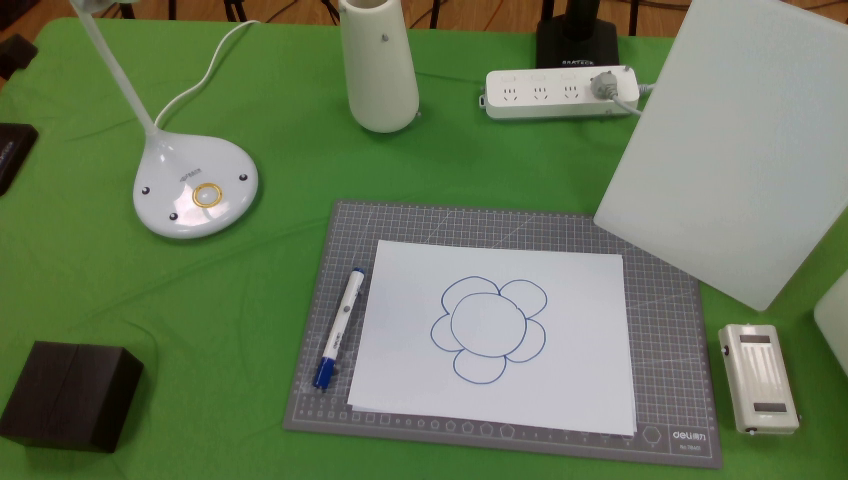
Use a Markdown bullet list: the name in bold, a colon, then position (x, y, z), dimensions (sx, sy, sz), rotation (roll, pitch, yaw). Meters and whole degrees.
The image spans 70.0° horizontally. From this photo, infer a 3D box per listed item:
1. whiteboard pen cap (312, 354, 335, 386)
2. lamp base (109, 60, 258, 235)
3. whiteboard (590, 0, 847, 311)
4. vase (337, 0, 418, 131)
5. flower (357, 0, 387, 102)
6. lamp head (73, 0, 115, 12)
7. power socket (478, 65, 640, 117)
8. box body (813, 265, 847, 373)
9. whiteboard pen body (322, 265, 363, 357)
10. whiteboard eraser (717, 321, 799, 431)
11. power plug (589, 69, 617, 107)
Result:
- **whiteboard pen cap**: position (-0.109, 0.142, 0.662), dimensions (0.018, 0.018, 0.033), rotation (11, 62, 10)
- **lamp base**: position (-0.314, -0.121, 0.739), dimensions (0.178, 0.182, 0.160), rotation (33, 65, 24)
- **whiteboard**: position (0.358, -0.114, 0.665), dimensions (0.215, 0.308, 0.144), rotation (32, 45, 21)
- **vase**: position (-0.062, -0.236, 0.786), dimensions (0.098, 0.202, 0.097), rotation (-2, 58, 3)
- **flower**: position (-0.047, -0.270, 0.710), dimensions (0.044, 0.363, 0.038), rotation (-34, 80, -26)
- **lamp head**: position (-0.280, -0.265, 0.485), dimensions (0.123, 0.112, 0.112), rotation (44, 64, -16)
- **power socket**: position (0.190, -0.211, 0.855), dimensions (0.227, 0.033, 0.071), rotation (-1, 60, 2)
- **box body**: position (0.575, 0.148, 0.543), dimensions (0.254, 0.162, 0.360), rotation (-12, 59, -5)
- **whiteboard pen body**: position (-0.095, 0.092, 0.688), dimensions (0.017, 0.017, 0.140), rotation (11, 62, 10)
- **whiteboard eraser**: position (0.344, 0.140, 0.630), dimensions (0.055, 0.042, 0.111), rotation (2, 59, 3)
- **power plug**: position (0.240, -0.198, 0.819), dimensions (0.035, 0.053, 0.072), rotation (8, 66, 8)
